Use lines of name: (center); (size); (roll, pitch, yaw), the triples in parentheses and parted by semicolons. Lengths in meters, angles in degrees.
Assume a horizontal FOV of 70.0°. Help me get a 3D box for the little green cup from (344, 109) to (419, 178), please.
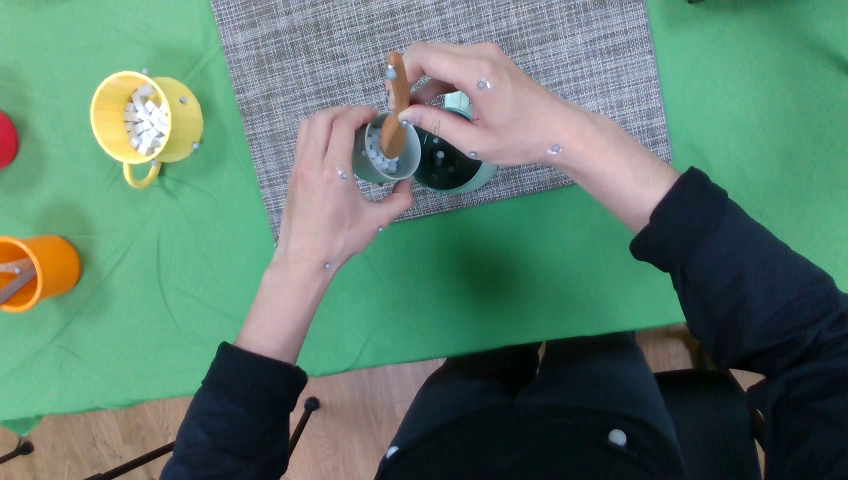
little green cup: (-0.039, -0.086, 0.539); (0.038, 0.062, 0.062); (14, 105, 48)

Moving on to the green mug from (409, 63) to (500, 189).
green mug: (0.028, -0.112, 0.605); (0.092, 0.105, 0.125); (6, 100, 10)

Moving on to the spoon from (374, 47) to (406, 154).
spoon: (-0.023, -0.101, 0.446); (0.022, 0.193, 0.041); (22, 83, -5)

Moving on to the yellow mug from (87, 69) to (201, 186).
yellow mug: (-0.320, -0.126, 0.692); (0.100, 0.064, 0.131); (14, 103, 8)

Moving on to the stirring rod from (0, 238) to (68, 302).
stirring rod: (-0.502, 0.061, 0.722); (0.014, 0.006, 0.175); (39, 62, 1)

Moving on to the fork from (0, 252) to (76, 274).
fork: (-0.532, 0.030, 0.717); (0.208, 0.018, 0.028); (-2, 100, -33)
